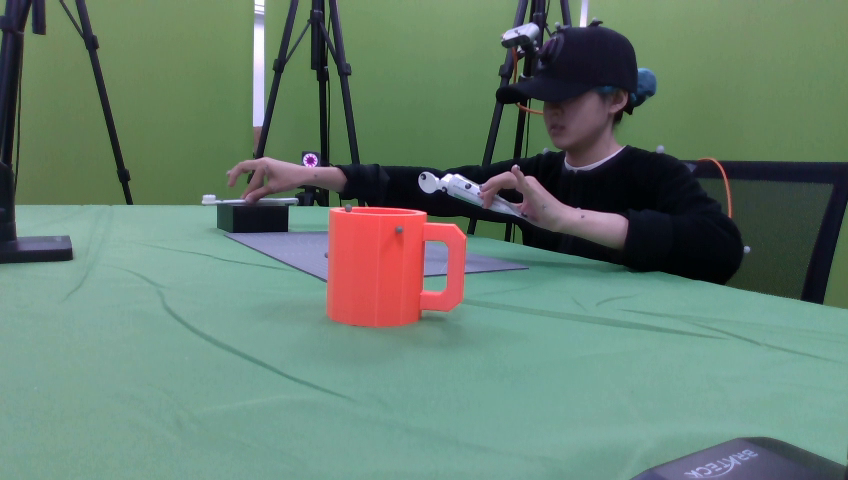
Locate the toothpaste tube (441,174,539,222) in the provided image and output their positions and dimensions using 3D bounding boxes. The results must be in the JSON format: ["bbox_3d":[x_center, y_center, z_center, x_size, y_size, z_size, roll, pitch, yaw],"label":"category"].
[{"bbox_3d":[0.091,-0.061,0.897,0.164,0.034,0.055,27,17,31],"label":"toothpaste tube"}]

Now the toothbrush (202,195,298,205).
[{"bbox_3d":[-0.319,-0.075,1.121,0.183,0.016,0.014,-3,11,-38],"label":"toothbrush"}]

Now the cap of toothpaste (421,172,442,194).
[{"bbox_3d":[0.011,-0.089,0.931,0.037,0.037,0.011,8,30,35],"label":"cap of toothpaste"}]

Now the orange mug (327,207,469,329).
[{"bbox_3d":[-0.024,0.021,0.535,0.126,0.100,0.083,-1,6,8],"label":"orange mug"}]
